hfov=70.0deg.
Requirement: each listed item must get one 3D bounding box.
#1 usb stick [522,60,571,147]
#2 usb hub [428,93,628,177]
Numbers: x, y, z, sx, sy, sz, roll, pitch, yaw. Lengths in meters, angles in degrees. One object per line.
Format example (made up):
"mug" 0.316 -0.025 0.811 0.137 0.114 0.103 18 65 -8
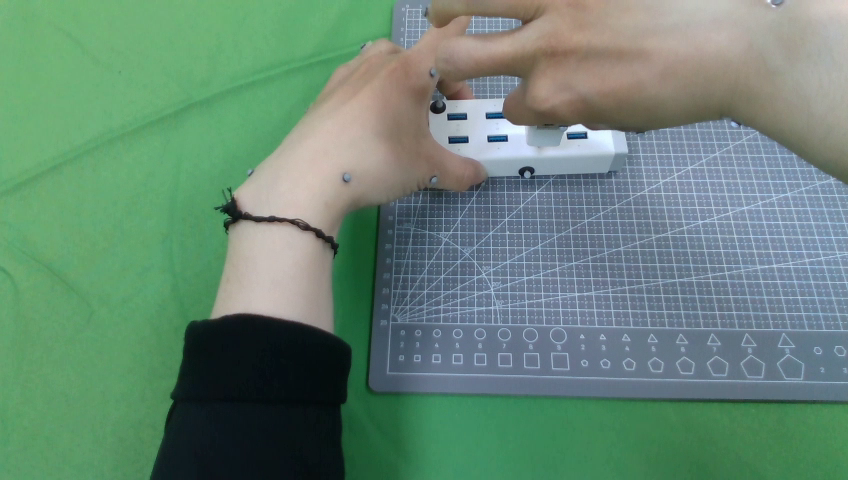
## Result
"usb stick" 0.070 -0.074 0.355 0.021 0.059 0.027 6 58 3
"usb hub" 0.065 -0.069 0.396 0.125 0.025 0.049 -2 64 0
